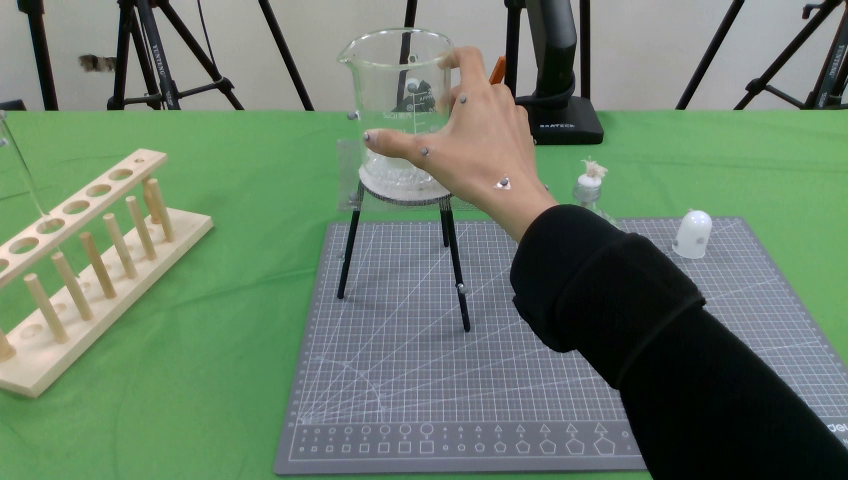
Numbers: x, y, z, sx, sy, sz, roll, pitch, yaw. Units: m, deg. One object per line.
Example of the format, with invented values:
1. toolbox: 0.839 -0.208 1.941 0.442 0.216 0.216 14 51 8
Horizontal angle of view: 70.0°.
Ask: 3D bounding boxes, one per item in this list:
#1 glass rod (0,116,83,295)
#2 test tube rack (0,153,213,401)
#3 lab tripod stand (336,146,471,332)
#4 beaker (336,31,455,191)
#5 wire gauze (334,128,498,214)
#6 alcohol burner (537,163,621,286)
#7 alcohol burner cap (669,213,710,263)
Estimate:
1. glass rod: -0.328 -0.034 0.511 0.008 0.201 0.008 -4 32 3
2. test tube rack: -0.299 0.019 0.550 0.066 0.086 0.241 12 39 15
3. lab tripod stand: -0.010 -0.003 0.529 0.148 0.132 0.147 -1 40 1
4. beaker: -0.019 -0.094 0.454 0.084 0.101 0.073 -5 38 -4
5. wire gauze: -0.012 -0.056 0.487 0.125 0.011 0.120 -5 38 -3
6. alcohol burner: 0.145 -0.017 0.561 0.078 0.120 0.077 -1 36 1
7. alcohol burner cap: 0.265 -0.005 0.601 0.034 0.048 0.033 -1 38 1
